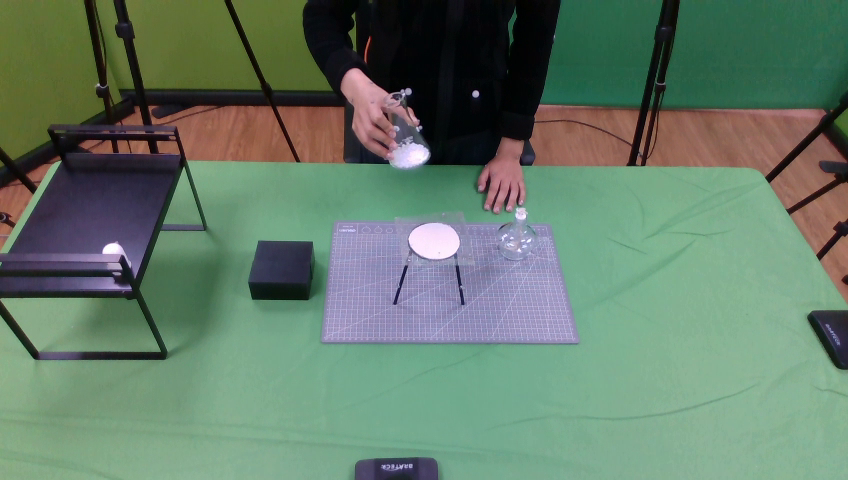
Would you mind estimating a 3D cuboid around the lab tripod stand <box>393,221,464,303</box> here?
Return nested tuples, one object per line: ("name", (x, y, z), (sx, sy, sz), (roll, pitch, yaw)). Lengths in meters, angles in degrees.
("lab tripod stand", (0.010, 0.045, 1.074), (0.148, 0.132, 0.147), (2, 48, -2))

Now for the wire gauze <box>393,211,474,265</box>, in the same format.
("wire gauze", (0.015, -0.003, 1.028), (0.125, 0.011, 0.120), (-4, 47, -7))

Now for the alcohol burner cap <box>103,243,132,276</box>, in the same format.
("alcohol burner cap", (-0.446, 0.025, 0.875), (0.034, 0.048, 0.033), (3, 46, -3))

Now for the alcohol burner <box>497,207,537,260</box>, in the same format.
("alcohol burner", (0.180, -0.019, 1.163), (0.078, 0.120, 0.077), (1, 48, -1))

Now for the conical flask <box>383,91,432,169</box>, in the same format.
("conical flask", (-0.035, -0.185, 1.010), (0.075, 0.122, 0.075), (-10, 39, 8))
